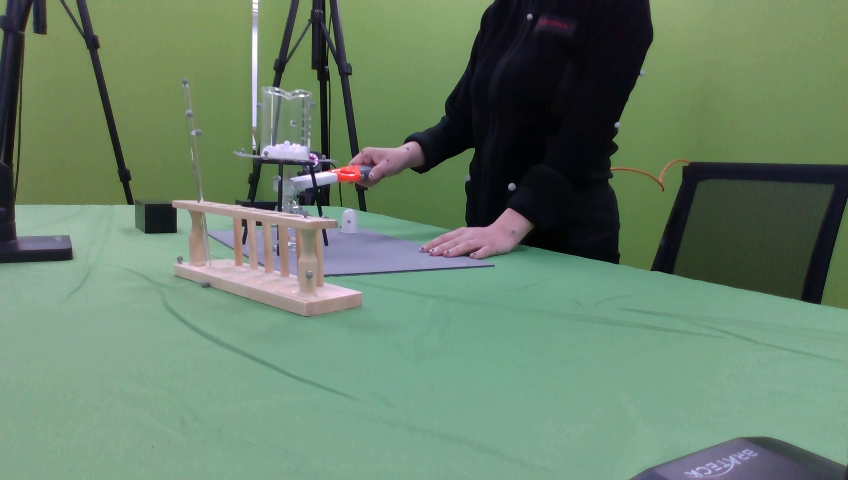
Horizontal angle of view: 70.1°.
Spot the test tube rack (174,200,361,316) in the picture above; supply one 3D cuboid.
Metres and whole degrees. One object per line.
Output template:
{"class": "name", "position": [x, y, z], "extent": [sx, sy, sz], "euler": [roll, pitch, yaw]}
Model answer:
{"class": "test tube rack", "position": [-0.169, 0.010, 0.622], "extent": [0.241, 0.085, 0.067], "euler": [9, 9, 41]}

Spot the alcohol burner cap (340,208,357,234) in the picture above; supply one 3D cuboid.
{"class": "alcohol burner cap", "position": [-0.142, -0.035, 1.136], "extent": [0.034, 0.048, 0.034], "euler": [1, 7, 0]}

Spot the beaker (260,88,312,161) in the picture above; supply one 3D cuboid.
{"class": "beaker", "position": [-0.200, -0.166, 0.876], "extent": [0.074, 0.100, 0.083], "euler": [1, 7, -18]}

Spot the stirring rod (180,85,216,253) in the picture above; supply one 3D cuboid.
{"class": "stirring rod", "position": [-0.237, -0.073, 0.634], "extent": [0.006, 0.176, 0.014], "euler": [0, 10, 42]}

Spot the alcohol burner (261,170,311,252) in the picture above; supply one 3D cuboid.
{"class": "alcohol burner", "position": [-0.200, -0.043, 0.891], "extent": [0.078, 0.119, 0.078], "euler": [1, 6, 0]}

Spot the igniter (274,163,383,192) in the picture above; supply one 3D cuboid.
{"class": "igniter", "position": [-0.152, -0.108, 1.025], "extent": [0.057, 0.025, 0.277], "euler": [10, 16, 24]}

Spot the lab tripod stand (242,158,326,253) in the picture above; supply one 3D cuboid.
{"class": "lab tripod stand", "position": [-0.207, -0.054, 0.895], "extent": [0.148, 0.131, 0.148], "euler": [3, 5, 0]}

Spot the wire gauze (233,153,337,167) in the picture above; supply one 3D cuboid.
{"class": "wire gauze", "position": [-0.205, -0.119, 0.887], "extent": [0.122, 0.011, 0.124], "euler": [2, 4, -32]}
